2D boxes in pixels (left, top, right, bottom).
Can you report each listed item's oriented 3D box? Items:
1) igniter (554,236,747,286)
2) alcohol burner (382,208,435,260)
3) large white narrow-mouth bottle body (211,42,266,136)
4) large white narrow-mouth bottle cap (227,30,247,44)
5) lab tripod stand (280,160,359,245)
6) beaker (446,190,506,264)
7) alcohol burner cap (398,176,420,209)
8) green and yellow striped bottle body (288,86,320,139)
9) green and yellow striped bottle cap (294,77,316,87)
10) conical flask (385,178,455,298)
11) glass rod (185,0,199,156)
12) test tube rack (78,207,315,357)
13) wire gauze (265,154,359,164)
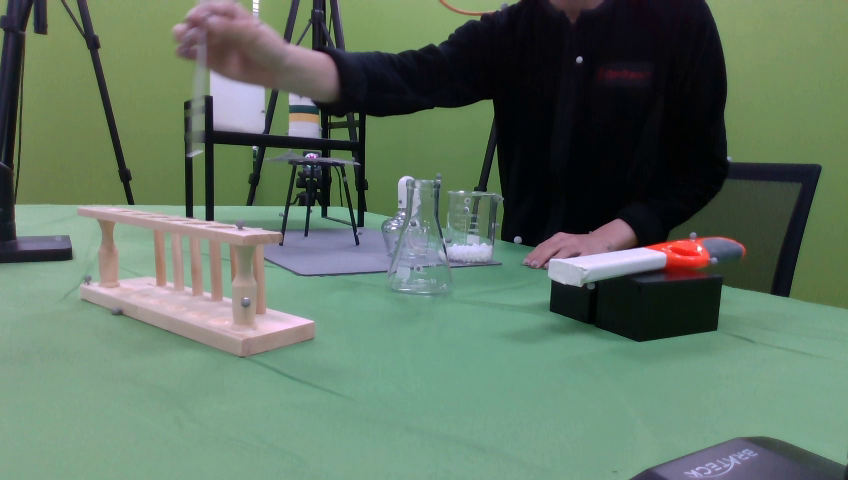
[{"bbox_3d":[0.221,0.017,0.558,0.278,0.025,0.057,-5,14,-39],"label":"igniter"},{"bbox_3d":[-0.023,-0.032,0.872,0.078,0.119,0.078,1,6,0],"label":"alcohol burner"},{"bbox_3d":[-0.360,-0.303,1.175,0.102,0.194,0.102,1,7,0],"label":"large white narrow-mouth bottle body"},{"bbox_3d":[-0.360,-0.389,1.165,0.038,0.024,0.037,1,7,0],"label":"large white narrow-mouth bottle cap"},{"bbox_3d":[-0.176,-0.062,0.973,0.148,0.131,0.148,1,7,0],"label":"lab tripod stand"},{"bbox_3d":[0.071,-0.019,0.855,0.084,0.100,0.074,3,8,-1],"label":"beaker"},{"bbox_3d":[-0.023,-0.068,0.866,0.034,0.048,0.034,-5,8,1],"label":"alcohol burner cap"},{"bbox_3d":[-0.250,-0.272,1.259,0.063,0.119,0.063,2,8,0],"label":"green and yellow striped bottle body"},{"bbox_3d":[-0.247,-0.326,1.251,0.045,0.020,0.045,0,10,0],"label":"green and yellow striped bottle cap"},{"bbox_3d":[-0.002,-0.004,0.639,0.075,0.122,0.075,2,7,0],"label":"conical flask"},{"bbox_3d":[-0.210,-0.173,0.549,0.008,0.199,0.008,-1,-9,0],"label":"glass rod"},{"bbox_3d":[-0.196,0.023,0.499,0.241,0.085,0.067,8,9,37],"label":"test tube rack"},{"bbox_3d":[-0.181,-0.129,0.969,0.126,0.011,0.121,-1,7,-27],"label":"wire gauze"}]
